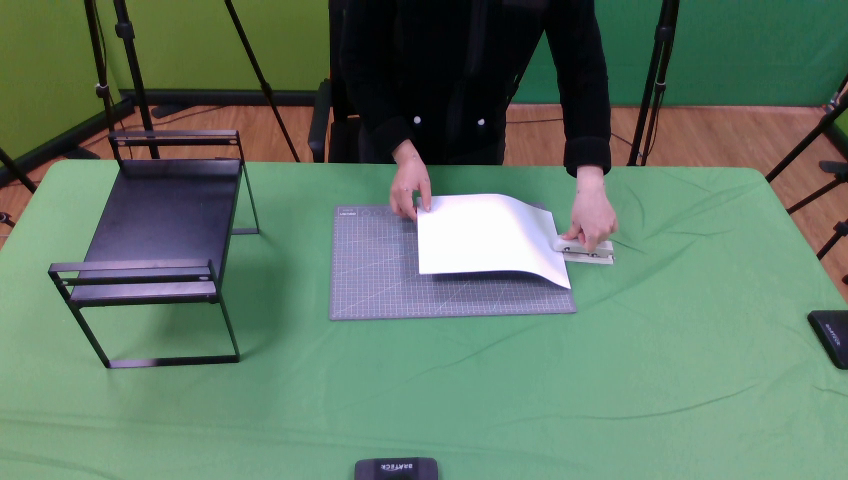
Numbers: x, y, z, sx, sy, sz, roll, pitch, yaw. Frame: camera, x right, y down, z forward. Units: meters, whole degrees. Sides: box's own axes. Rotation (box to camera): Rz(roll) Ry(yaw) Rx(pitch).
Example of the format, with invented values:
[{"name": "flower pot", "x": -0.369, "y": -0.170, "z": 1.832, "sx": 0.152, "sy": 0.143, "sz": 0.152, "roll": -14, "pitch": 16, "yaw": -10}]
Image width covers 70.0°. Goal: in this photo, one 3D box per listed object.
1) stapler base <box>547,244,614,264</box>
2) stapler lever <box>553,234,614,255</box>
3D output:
[{"name": "stapler base", "x": 0.311, "y": 0.022, "z": 1.198, "sx": 0.130, "sy": 0.024, "sz": 0.041, "roll": 5, "pitch": 47, "yaw": -3}, {"name": "stapler lever", "x": 0.313, "y": 0.009, "z": 1.186, "sx": 0.118, "sy": 0.040, "sz": 0.026, "roll": -1, "pitch": 47, "yaw": 3}]
